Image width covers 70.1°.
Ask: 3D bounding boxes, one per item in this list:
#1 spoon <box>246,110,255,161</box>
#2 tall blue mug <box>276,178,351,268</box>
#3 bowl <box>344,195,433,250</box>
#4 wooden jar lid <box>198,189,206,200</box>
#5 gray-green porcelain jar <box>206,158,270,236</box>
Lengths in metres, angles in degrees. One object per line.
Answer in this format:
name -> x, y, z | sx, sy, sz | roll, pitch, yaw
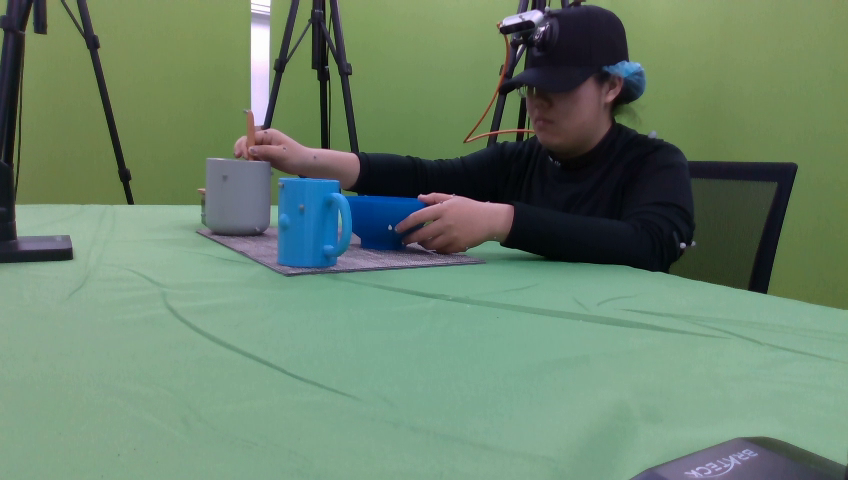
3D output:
spoon -> -0.297, -0.124, 1.032 | 0.042, 0.193, 0.021 | 1, 6, -35
tall blue mug -> -0.133, -0.022, 0.766 | 0.107, 0.108, 0.078 | 4, 6, 12
bowl -> -0.063, -0.028, 0.957 | 0.151, 0.077, 0.151 | 2, 7, 0
wooden jar lid -> -0.382, -0.088, 1.175 | 0.108, 0.020, 0.108 | 3, 8, 0
gray-green porcelain jar -> -0.317, -0.074, 1.031 | 0.106, 0.126, 0.106 | 3, 7, 0
